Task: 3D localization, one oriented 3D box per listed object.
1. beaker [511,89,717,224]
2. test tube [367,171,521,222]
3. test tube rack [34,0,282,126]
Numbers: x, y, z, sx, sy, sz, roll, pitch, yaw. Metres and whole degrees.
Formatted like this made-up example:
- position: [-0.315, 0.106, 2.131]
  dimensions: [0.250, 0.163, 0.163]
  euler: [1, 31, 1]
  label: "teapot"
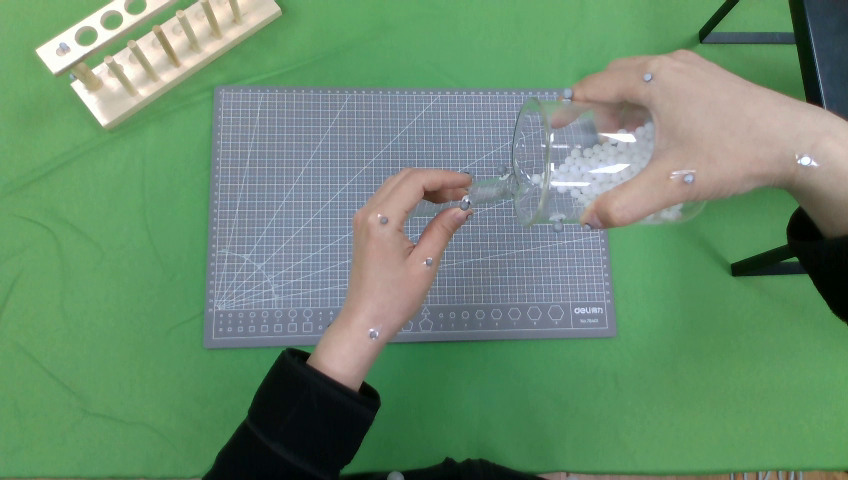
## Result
- position: [0.107, -0.045, 0.355]
  dimensions: [0.100, 0.084, 0.073]
  euler: [0, 77, -6]
  label: "beaker"
- position: [0.008, -0.029, 0.440]
  dimensions: [0.017, 0.149, 0.017]
  euler: [7, 79, -43]
  label: "test tube"
- position: [-0.281, -0.234, 0.667]
  dimensions: [0.242, 0.085, 0.066]
  euler: [-38, 83, -11]
  label: "test tube rack"
